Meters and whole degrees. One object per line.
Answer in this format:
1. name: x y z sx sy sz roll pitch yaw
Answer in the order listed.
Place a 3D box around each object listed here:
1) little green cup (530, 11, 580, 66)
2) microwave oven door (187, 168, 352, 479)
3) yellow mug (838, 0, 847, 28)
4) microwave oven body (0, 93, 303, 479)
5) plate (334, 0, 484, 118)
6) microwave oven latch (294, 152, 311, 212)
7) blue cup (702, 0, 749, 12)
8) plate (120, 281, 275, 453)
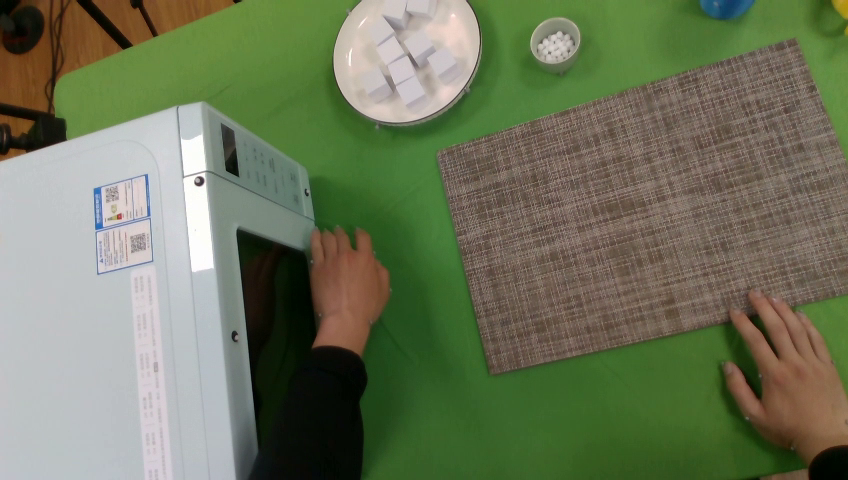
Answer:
1. little green cup: 0.167 -0.252 0.767 0.061 0.039 0.061 -3 80 15
2. microwave oven door: -0.165 0.120 0.672 0.039 0.245 0.354 -13 78 13
3. yellow mug: 0.508 -0.293 0.666 0.099 0.064 0.131 34 92 18
4. microwave oven body: -0.309 0.111 0.718 0.325 0.261 0.439 -13 79 13
5. plate: -0.020 -0.260 0.819 0.207 0.039 0.207 -3 81 15
6. microwave oven latch: -0.172 -0.076 0.811 0.030 0.029 0.079 -11 79 13
7. blue cup: 0.356 -0.313 0.692 0.092 0.101 0.092 -2 82 14
8. plate: -0.278 0.156 0.756 0.208 0.038 0.208 -2 81 14
